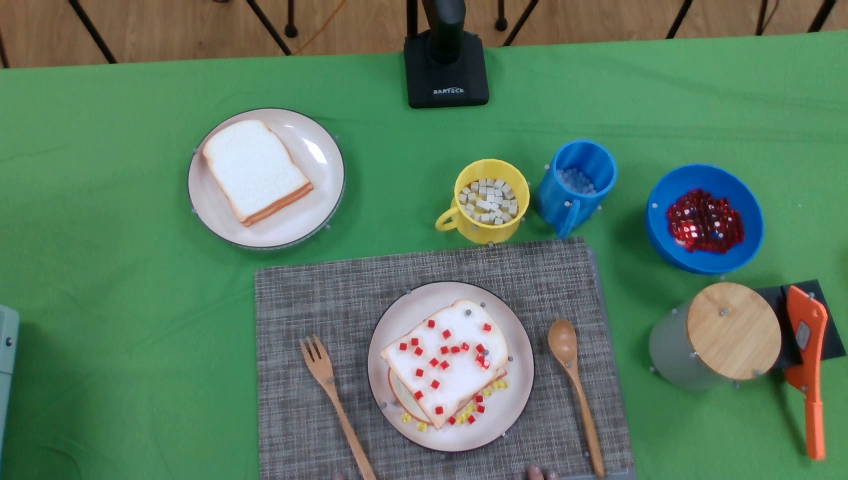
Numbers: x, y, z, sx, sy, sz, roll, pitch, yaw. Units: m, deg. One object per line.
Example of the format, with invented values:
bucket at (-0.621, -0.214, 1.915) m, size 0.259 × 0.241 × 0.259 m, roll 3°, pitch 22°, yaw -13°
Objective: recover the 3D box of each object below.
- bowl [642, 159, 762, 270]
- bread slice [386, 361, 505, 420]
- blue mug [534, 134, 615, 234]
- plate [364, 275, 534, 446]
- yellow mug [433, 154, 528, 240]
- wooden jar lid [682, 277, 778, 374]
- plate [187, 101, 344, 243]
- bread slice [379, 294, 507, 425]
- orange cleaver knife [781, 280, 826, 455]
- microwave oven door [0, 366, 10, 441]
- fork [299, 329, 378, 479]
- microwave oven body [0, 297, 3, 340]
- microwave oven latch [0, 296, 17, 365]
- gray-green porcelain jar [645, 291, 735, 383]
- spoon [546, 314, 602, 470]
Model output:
bowl at (0.357, -0.024, 0.809) m, size 0.151 × 0.077 × 0.150 m, roll 1°, pitch 72°, yaw -2°
bread slice at (0.022, 0.158, 0.753) m, size 0.131 × 0.019 × 0.104 m, roll -36°, pitch 75°, yaw -15°
blue mug at (0.193, -0.064, 0.801) m, size 0.082 × 0.106 × 0.116 m, roll 15°, pitch 71°, yaw 3°
plate at (0.030, 0.147, 0.753) m, size 0.209 × 0.038 × 0.207 m, roll 1°, pitch 71°, yaw -2°
yellow mug at (0.072, -0.050, 0.811) m, size 0.131 × 0.064 × 0.099 m, roll -25°, pitch 73°, yaw -9°
wooden jar lid at (0.339, 0.095, 0.677) m, size 0.108 × 0.021 × 0.108 m, roll 1°, pitch 74°, yaw -4°
plate at (-0.212, -0.091, 0.826) m, size 0.208 × 0.039 × 0.206 m, roll 1°, pitch 71°, yaw -2°
bread slice at (0.028, 0.126, 0.699) m, size 0.134 × 0.018 × 0.106 m, roll -39°, pitch 82°, yaw -20°
orange cleaver knife at (0.468, 0.157, 0.751) m, size 0.012 × 0.077 × 0.212 m, roll -6°, pitch 98°, yaw -4°
microwave oven door at (-0.495, 0.282, 0.559) m, size 0.039 × 0.245 × 0.353 m, roll -3°, pitch 71°, yaw -3°
fork at (-0.103, 0.204, 0.738) m, size 0.028 × 0.019 × 0.206 m, roll -23°, pitch 72°, yaw -18°
microwave oven body at (-0.643, 0.251, 0.568) m, size 0.326 × 0.261 × 0.438 m, roll -3°, pitch 72°, yaw -4°
microwave oven latch at (-0.512, 0.108, 0.724) m, size 0.030 × 0.029 × 0.078 m, roll 0°, pitch 72°, yaw -3°
gray-green porcelain jar at (0.337, 0.117, 0.736) m, size 0.106 × 0.127 × 0.105 m, roll 1°, pitch 71°, yaw -2°
spoon at (0.190, 0.187, 0.755) m, size 0.042 × 0.021 × 0.192 m, roll -4°, pitch 70°, yaw -26°
